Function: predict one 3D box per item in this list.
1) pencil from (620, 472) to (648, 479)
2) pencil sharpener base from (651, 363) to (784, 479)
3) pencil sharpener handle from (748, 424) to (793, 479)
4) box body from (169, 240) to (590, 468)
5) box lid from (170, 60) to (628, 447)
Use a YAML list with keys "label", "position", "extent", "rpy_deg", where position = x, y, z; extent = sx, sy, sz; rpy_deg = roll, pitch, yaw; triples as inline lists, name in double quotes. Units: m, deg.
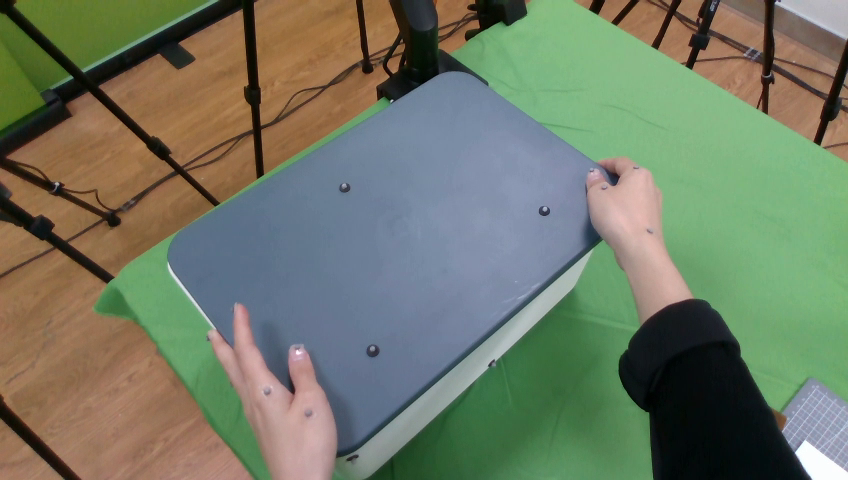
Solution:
- label: "pencil"
  position: [0.129, 0.258, 0.574]
  extent: [0.194, 0.012, 0.012]
  rpy_deg: [-19, 59, -12]
- label: "pencil sharpener base"
  position: [0.273, 0.174, 0.567]
  extent: [0.076, 0.108, 0.061]
  rpy_deg: [30, 62, 18]
- label: "pencil sharpener handle"
  position: [0.314, 0.193, 0.541]
  extent: [0.030, 0.068, 0.036]
  rpy_deg: [30, 56, 18]
- label: "box body"
  position: [-0.024, 0.022, 0.632]
  extent: [0.364, 0.162, 0.252]
  rpy_deg: [-39, 65, -21]
- label: "box lid"
  position: [-0.018, -0.021, 0.560]
  extent: [0.371, 0.015, 0.261]
  rpy_deg: [-38, 64, -19]
